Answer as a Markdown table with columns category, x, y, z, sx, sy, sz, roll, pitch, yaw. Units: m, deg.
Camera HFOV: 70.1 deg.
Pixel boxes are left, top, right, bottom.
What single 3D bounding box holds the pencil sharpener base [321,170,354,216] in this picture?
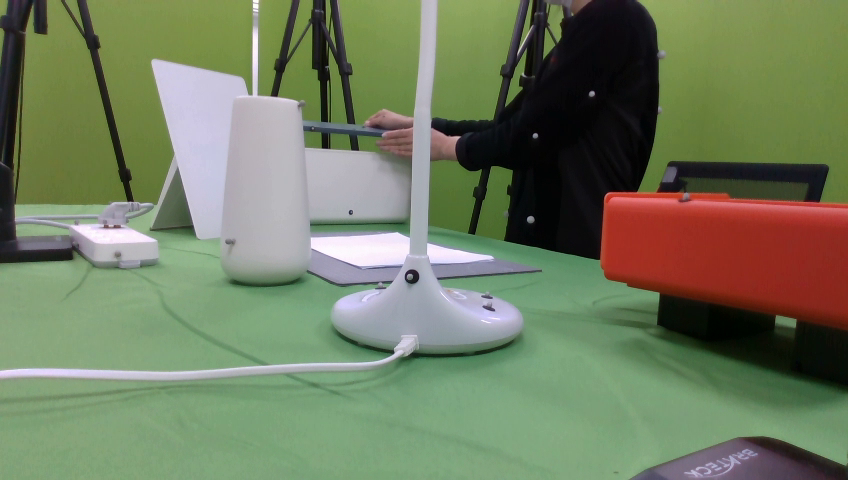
| category | x | y | z | sx | sy | sz | roll | pitch | yaw |
| --- | --- | --- | --- | --- | --- | --- | --- | --- | --- |
| pencil sharpener base | -0.206 | -0.112 | 1.437 | 0.077 | 0.107 | 0.061 | 1 | 6 | -11 |

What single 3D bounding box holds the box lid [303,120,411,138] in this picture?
| category | x | y | z | sx | sy | sz | roll | pitch | yaw |
| --- | --- | --- | --- | --- | --- | --- | --- | --- | --- |
| box lid | -0.200 | -0.252 | 1.361 | 0.373 | 0.015 | 0.262 | -1 | 13 | -28 |

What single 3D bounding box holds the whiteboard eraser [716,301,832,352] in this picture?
| category | x | y | z | sx | sy | sz | roll | pitch | yaw |
| --- | --- | --- | --- | --- | --- | --- | --- | --- | --- |
| whiteboard eraser | 0.256 | 0.042 | 0.472 | 0.112 | 0.042 | 0.056 | 43 | 19 | 30 |

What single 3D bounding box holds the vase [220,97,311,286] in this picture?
| category | x | y | z | sx | sy | sz | roll | pitch | yaw |
| --- | --- | --- | --- | --- | --- | --- | --- | --- | --- |
| vase | -0.172 | -0.052 | 0.662 | 0.098 | 0.200 | 0.098 | 3 | 8 | 0 |

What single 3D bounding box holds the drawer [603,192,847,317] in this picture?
| category | x | y | z | sx | sy | sz | roll | pitch | yaw |
| --- | --- | --- | --- | --- | --- | --- | --- | --- | --- |
| drawer | 0.293 | 0.002 | 0.500 | 0.195 | 0.073 | 0.210 | -1 | 8 | -34 |

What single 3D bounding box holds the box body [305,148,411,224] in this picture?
| category | x | y | z | sx | sy | sz | roll | pitch | yaw |
| --- | --- | --- | --- | --- | --- | --- | --- | --- | --- |
| box body | -0.230 | -0.126 | 1.371 | 0.366 | 0.160 | 0.253 | -2 | 8 | -33 |

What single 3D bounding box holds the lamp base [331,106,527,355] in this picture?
| category | x | y | z | sx | sy | sz | roll | pitch | yaw |
| --- | --- | --- | --- | --- | --- | --- | --- | --- | --- |
| lamp base | 0.006 | -0.012 | 0.478 | 0.161 | 0.180 | 0.179 | 2 | 10 | 2 |

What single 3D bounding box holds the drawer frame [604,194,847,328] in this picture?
| category | x | y | z | sx | sy | sz | roll | pitch | yaw |
| --- | --- | --- | --- | --- | --- | --- | --- | --- | --- |
| drawer frame | 0.297 | 0.007 | 0.497 | 0.203 | 0.082 | 0.212 | -1 | 7 | -34 |

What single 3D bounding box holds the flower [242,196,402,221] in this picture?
| category | x | y | z | sx | sy | sz | roll | pitch | yaw |
| --- | --- | --- | --- | --- | --- | --- | --- | --- | --- |
| flower | -0.231 | -0.065 | 1.372 | 0.362 | 0.038 | 0.044 | 6 | 39 | -2 |

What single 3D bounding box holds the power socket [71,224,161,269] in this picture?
| category | x | y | z | sx | sy | sz | roll | pitch | yaw |
| --- | --- | --- | --- | --- | --- | --- | --- | --- | --- |
| power socket | -0.408 | 0.004 | 0.793 | 0.072 | 0.032 | 0.225 | -2 | 8 | -38 |

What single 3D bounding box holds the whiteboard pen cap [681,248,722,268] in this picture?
| category | x | y | z | sx | sy | sz | roll | pitch | yaw |
| --- | --- | --- | --- | --- | --- | --- | --- | --- | --- |
| whiteboard pen cap | 0.250 | 0.017 | 0.544 | 0.033 | 0.018 | 0.018 | 2 | 7 | 25 |

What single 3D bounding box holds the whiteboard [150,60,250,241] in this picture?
| category | x | y | z | sx | sy | sz | roll | pitch | yaw |
| --- | --- | --- | --- | --- | --- | --- | --- | --- | --- |
| whiteboard | -0.408 | -0.139 | 1.093 | 0.143 | 0.305 | 0.218 | -15 | -1 | 26 |

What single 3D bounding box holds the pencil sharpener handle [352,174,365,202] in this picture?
| category | x | y | z | sx | sy | sz | roll | pitch | yaw |
| --- | --- | --- | --- | --- | --- | --- | --- | --- | --- |
| pencil sharpener handle | -0.156 | -0.124 | 1.450 | 0.031 | 0.068 | 0.036 | 1 | 21 | -11 |

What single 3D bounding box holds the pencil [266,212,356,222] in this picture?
| category | x | y | z | sx | sy | sz | roll | pitch | yaw |
| --- | --- | --- | --- | --- | --- | --- | --- | --- | --- |
| pencil | -0.245 | -0.048 | 1.321 | 0.195 | 0.012 | 0.012 | 4 | 7 | -14 |

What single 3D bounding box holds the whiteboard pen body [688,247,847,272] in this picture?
| category | x | y | z | sx | sy | sz | roll | pitch | yaw |
| --- | --- | --- | --- | --- | --- | --- | --- | --- | --- |
| whiteboard pen body | 0.304 | 0.016 | 0.520 | 0.140 | 0.017 | 0.017 | 3 | 7 | 26 |

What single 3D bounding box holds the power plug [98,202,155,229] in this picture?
| category | x | y | z | sx | sy | sz | roll | pitch | yaw |
| --- | --- | --- | --- | --- | --- | --- | --- | --- | --- |
| power plug | -0.416 | -0.027 | 0.848 | 0.073 | 0.052 | 0.035 | 0 | 8 | -28 |
